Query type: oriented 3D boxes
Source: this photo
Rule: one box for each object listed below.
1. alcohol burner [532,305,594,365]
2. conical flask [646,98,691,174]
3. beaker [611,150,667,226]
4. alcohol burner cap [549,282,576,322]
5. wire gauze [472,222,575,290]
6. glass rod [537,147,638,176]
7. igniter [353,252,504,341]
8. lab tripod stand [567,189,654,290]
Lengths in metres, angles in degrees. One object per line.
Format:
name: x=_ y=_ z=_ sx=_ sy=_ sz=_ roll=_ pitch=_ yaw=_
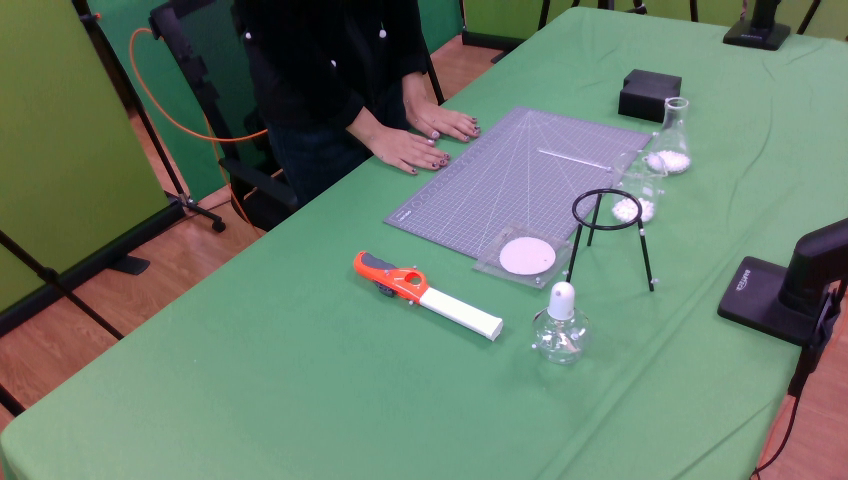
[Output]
alcohol burner: x=0.174 y=0.100 z=0.761 sx=0.078 sy=0.119 sz=0.077 roll=-6 pitch=38 yaw=5
conical flask: x=0.426 y=-0.180 z=1.037 sx=0.075 sy=0.122 sz=0.075 roll=-5 pitch=40 yaw=5
beaker: x=0.337 y=-0.079 z=0.953 sx=0.083 sy=0.101 sz=0.074 roll=25 pitch=51 yaw=33
alcohol burner cap: x=0.171 y=0.073 z=0.737 sx=0.034 sy=0.048 sz=0.033 roll=-2 pitch=38 yaw=2
wire gauze: x=0.158 y=0.024 z=0.933 sx=0.120 sy=0.011 sz=0.125 roll=21 pitch=49 yaw=31
glass rod: x=0.294 y=-0.145 z=1.104 sx=0.198 sy=0.008 sz=0.008 roll=22 pitch=50 yaw=31
igniter: x=-0.005 y=0.077 z=0.889 sx=0.274 sy=0.025 sz=0.057 roll=23 pitch=59 yaw=33
lab tripod stand: x=0.251 y=0.003 z=0.845 sx=0.148 sy=0.132 sz=0.147 roll=-7 pitch=39 yaw=6
